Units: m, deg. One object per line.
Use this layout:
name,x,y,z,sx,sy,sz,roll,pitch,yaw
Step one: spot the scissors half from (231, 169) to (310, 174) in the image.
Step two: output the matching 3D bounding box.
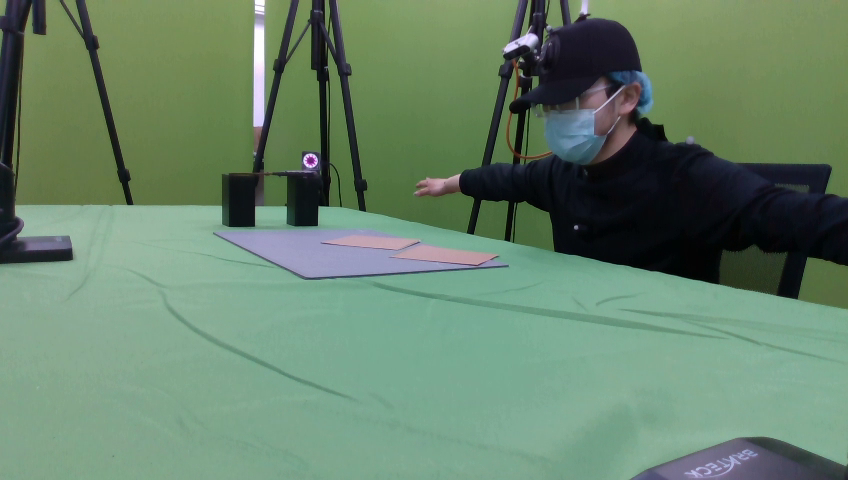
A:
scissors half,-0.309,-0.137,1.226,0.176,0.013,0.040,-7,17,-41

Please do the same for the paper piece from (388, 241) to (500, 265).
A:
paper piece,0.034,0.020,0.906,0.138,0.008,0.136,6,11,20

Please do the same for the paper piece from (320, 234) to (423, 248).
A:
paper piece,-0.084,-0.001,1.018,0.135,0.004,0.136,4,8,17

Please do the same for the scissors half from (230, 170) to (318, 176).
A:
scissors half,-0.297,-0.133,1.209,0.176,0.013,0.040,-3,10,-24
